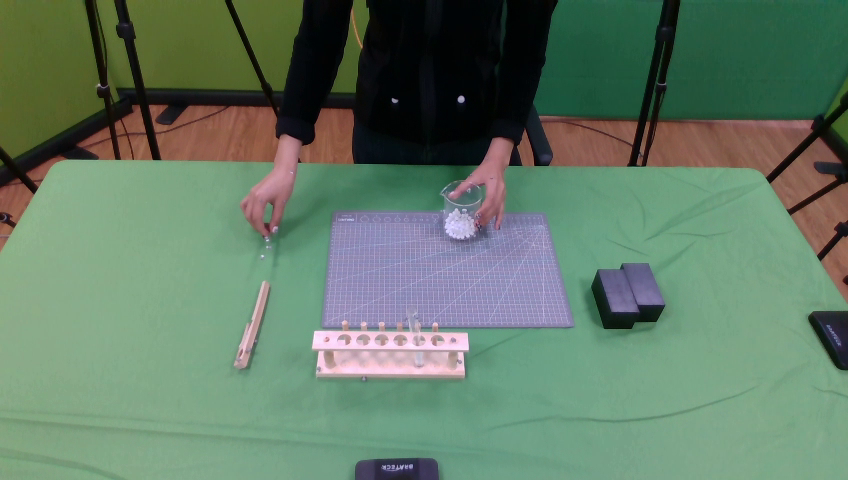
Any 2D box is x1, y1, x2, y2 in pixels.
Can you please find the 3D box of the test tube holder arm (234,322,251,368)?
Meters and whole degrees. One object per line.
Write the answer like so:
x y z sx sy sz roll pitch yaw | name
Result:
-0.299 0.173 1.013 0.010 0.015 0.087 -17 41 22 | test tube holder arm

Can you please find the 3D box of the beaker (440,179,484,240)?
0.071 -0.057 1.184 0.084 0.101 0.073 5 46 3 | beaker

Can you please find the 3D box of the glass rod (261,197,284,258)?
-0.296 -0.029 1.191 0.008 0.008 0.198 2 37 -1 | glass rod

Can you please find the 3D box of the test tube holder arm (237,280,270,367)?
-0.291 0.140 1.042 0.013 0.015 0.177 -17 41 22 | test tube holder arm

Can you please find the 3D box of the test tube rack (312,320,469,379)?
-0.054 0.173 0.984 0.242 0.085 0.066 1 46 -3 | test tube rack

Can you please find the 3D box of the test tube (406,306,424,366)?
-0.013 0.152 0.939 0.017 0.151 0.017 -3 48 3 | test tube
